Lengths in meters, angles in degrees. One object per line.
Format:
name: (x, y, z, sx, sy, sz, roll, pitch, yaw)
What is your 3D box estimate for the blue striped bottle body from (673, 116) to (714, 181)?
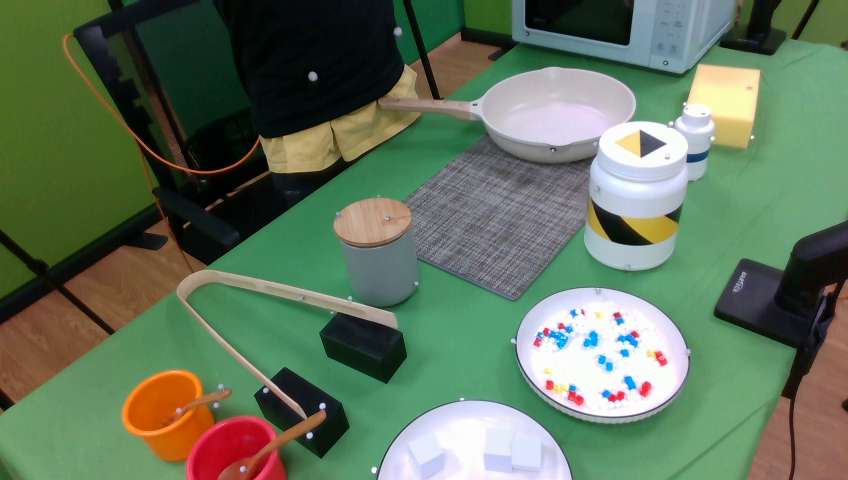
blue striped bottle body: (0.451, -0.166, 1.023, 0.063, 0.121, 0.063, -4, 41, 4)

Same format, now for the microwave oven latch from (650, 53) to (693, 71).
microwave oven latch: (0.531, -0.386, 1.301, 0.078, 0.029, 0.030, 26, 51, 33)

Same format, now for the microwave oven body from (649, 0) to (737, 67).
microwave oven body: (0.475, -0.602, 1.411, 0.438, 0.261, 0.327, 23, 50, 32)

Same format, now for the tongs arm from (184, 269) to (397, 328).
tongs arm: (-0.202, 0.085, 0.847, 0.382, 0.027, 0.051, 11, 44, 35)

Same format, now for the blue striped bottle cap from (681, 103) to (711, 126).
blue striped bottle cap: (0.446, -0.205, 0.990, 0.044, 0.021, 0.044, -4, 43, 5)

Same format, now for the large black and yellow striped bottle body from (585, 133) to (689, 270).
large black and yellow striped bottle body: (0.305, -0.061, 0.874, 0.131, 0.185, 0.130, -4, 41, 4)

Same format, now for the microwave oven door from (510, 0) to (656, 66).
microwave oven door: (0.350, -0.539, 1.349, 0.353, 0.245, 0.039, 24, 50, 31)

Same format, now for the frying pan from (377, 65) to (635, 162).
frying pan: (0.150, -0.254, 1.177, 0.488, 0.103, 0.306, 6, 41, 3)

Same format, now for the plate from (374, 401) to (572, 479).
plate: (0.051, 0.268, 0.639, 0.207, 0.039, 0.206, -3, 40, 3)

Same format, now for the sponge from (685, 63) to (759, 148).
sponge: (0.569, -0.263, 1.164, 0.117, 0.061, 0.207, 12, 45, 22)

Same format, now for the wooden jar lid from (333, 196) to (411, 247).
wooden jar lid: (-0.071, -0.023, 0.830, 0.108, 0.021, 0.108, -4, 36, 3)

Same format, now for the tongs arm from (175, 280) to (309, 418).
tongs arm: (-0.255, 0.133, 0.800, 0.028, 0.028, 0.384, -41, 40, -23)

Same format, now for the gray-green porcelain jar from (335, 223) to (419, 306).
gray-green porcelain jar: (-0.064, 0.024, 0.872, 0.106, 0.127, 0.105, -4, 41, 4)

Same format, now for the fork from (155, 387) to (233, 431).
fork: (-0.264, 0.191, 0.688, 0.206, 0.018, 0.028, -34, 8, 44)

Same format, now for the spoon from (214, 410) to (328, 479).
spoon: (-0.165, 0.224, 0.639, 0.193, 0.022, 0.041, -40, 32, 30)

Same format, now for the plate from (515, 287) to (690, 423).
plate: (0.220, 0.144, 0.760, 0.209, 0.038, 0.208, -4, 40, 4)

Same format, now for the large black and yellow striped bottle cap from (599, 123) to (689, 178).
large black and yellow striped bottle cap: (0.296, -0.123, 0.818, 0.115, 0.019, 0.114, -5, 40, 4)
